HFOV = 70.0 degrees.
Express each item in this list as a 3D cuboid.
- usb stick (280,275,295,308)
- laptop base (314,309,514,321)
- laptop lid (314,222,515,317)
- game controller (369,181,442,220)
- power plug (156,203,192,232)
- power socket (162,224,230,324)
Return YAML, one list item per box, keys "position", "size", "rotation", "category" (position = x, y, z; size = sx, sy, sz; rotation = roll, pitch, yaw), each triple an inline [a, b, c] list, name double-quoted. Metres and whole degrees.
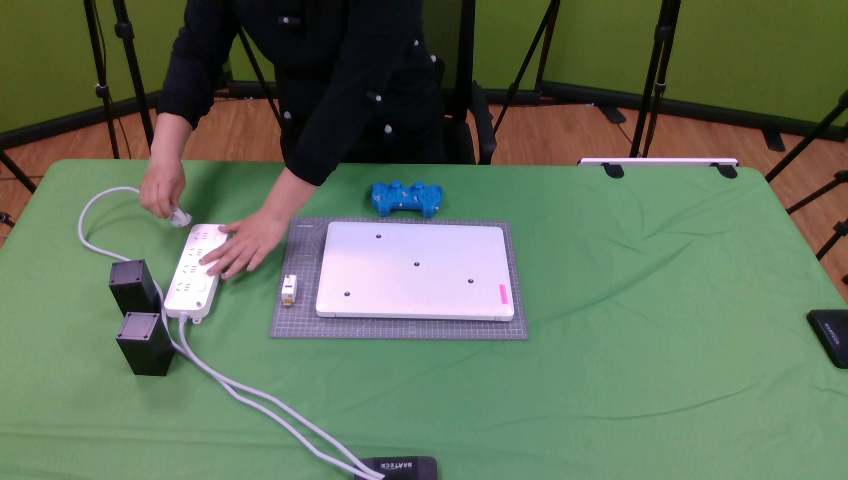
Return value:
- position: [-0.244, 0.093, 1.081]
  size: [0.021, 0.027, 0.059]
  rotation: [3, 48, -5]
  category: "usb stick"
- position: [-0.017, 0.059, 1.141]
  size: [0.354, 0.023, 0.234]
  rotation: [2, 43, -3]
  category: "laptop base"
- position: [-0.016, 0.049, 1.134]
  size: [0.357, 0.013, 0.240]
  rotation: [3, 43, -2]
  category: "laptop lid"
- position: [-0.039, -0.092, 1.268]
  size: [0.155, 0.052, 0.096]
  rotation: [2, 51, -2]
  category: "game controller"
- position: [-0.466, -0.045, 1.142]
  size: [0.035, 0.053, 0.072]
  rotation: [-35, 46, -30]
  category: "power plug"
- position: [-0.412, 0.052, 1.107]
  size: [0.072, 0.033, 0.225]
  rotation: [4, 46, -3]
  category: "power socket"
